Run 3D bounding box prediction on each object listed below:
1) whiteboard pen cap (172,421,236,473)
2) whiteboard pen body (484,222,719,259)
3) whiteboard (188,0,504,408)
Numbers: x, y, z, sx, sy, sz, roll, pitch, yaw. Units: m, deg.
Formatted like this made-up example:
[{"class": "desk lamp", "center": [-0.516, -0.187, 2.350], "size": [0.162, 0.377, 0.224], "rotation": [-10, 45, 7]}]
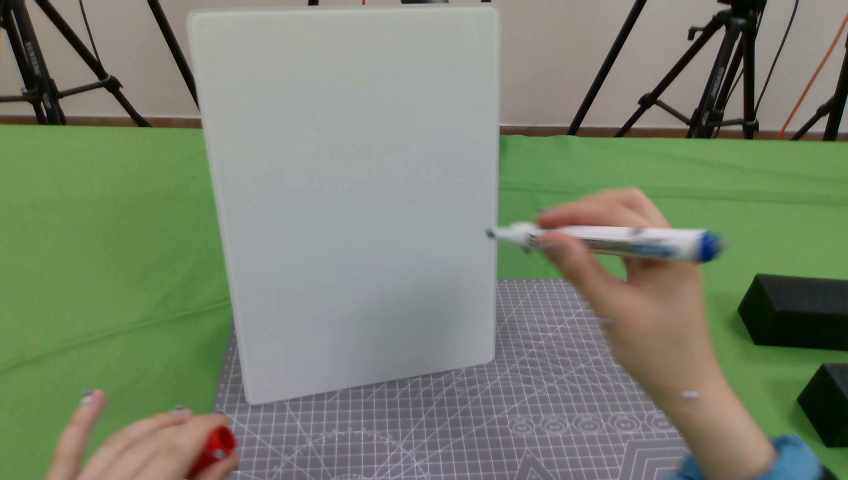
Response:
[{"class": "whiteboard pen cap", "center": [-0.120, 0.113, 0.332], "size": [0.032, 0.017, 0.017], "rotation": [-31, 41, 10]}, {"class": "whiteboard pen body", "center": [0.087, -0.002, 0.331], "size": [0.139, 0.017, 0.017], "rotation": [4, 29, 46]}, {"class": "whiteboard", "center": [-0.059, -0.042, 0.524], "size": [0.218, 0.307, 0.142], "rotation": [-7, 22, -14]}]
